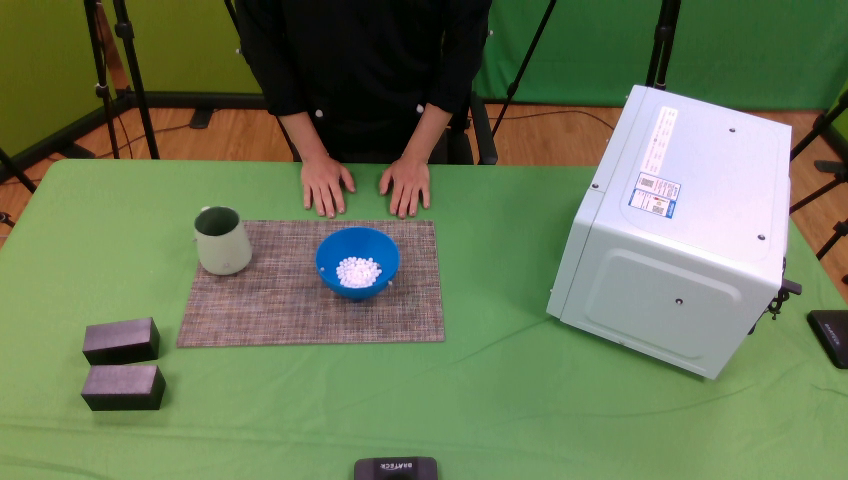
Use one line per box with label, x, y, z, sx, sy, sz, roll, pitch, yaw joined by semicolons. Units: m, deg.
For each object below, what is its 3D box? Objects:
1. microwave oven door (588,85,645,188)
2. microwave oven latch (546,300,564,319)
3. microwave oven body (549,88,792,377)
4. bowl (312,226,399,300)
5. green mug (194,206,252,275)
microwave oven door;0.342;-0.107;1.149;0.039;0.245;0.354;20;48;15
microwave oven latch;0.242;0.102;1.081;0.030;0.029;0.079;21;48;17
microwave oven body;0.456;-0.028;1.088;0.325;0.261;0.440;20;47;16
bowl;-0.121;0.054;1.091;0.151;0.077;0.150;2;46;-2
green mug;-0.377;-0.008;1.112;0.092;0.105;0.124;-26;53;-26
